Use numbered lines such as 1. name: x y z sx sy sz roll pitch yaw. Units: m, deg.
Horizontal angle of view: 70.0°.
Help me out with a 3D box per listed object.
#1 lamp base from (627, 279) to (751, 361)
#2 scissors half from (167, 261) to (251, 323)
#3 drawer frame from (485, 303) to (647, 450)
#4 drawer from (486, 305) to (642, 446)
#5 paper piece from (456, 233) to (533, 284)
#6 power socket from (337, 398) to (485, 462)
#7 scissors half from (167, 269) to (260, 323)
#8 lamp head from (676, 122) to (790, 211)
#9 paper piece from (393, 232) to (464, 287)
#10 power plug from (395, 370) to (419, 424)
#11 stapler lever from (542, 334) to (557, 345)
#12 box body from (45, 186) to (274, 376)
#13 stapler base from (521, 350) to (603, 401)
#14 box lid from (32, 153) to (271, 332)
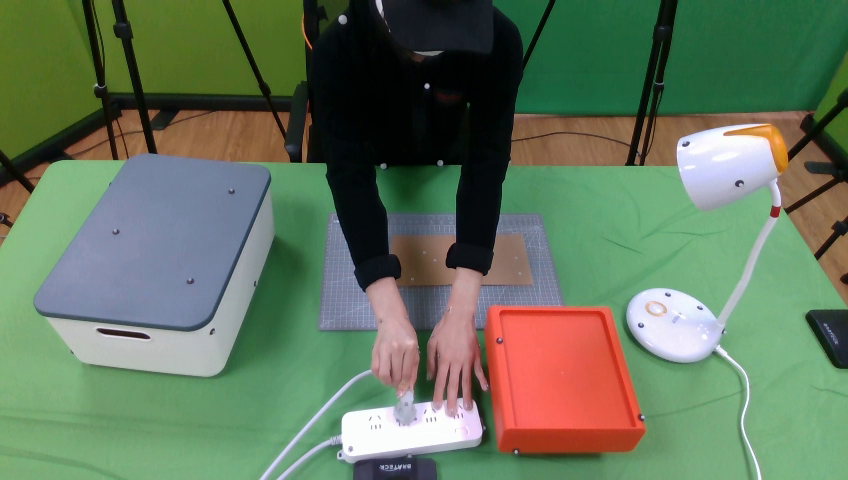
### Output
1. lamp base: 0.460 0.100 1.027 0.178 0.181 0.160 27 51 17
2. scissors half: -0.383 0.091 1.080 0.040 0.013 0.175 24 51 31
3. drawer frame: 0.204 0.202 0.917 0.202 0.083 0.212 1 47 -4
4. drawer: 0.202 0.201 0.919 0.195 0.073 0.210 1 47 -4
5. paper piece: 0.136 0.035 1.182 0.136 0.009 0.137 2 45 -6
6. power socket: -0.018 0.285 0.915 0.227 0.033 0.071 -4 46 -8
7. scissors half: -0.369 0.101 1.069 0.175 0.013 0.040 -29 51 -21
8. lamp head: 0.423 -0.104 0.819 0.122 0.113 0.112 -13 33 40
9. paper piece: 0.007 0.036 1.168 0.135 0.004 0.135 4 45 -7
10. power plug: -0.022 0.242 0.913 0.035 0.053 0.072 14 46 1
11. stapler lever: 0.225 0.181 0.928 0.118 0.040 0.027 27 34 15
12. box body: -0.421 0.037 1.031 0.254 0.161 0.362 6 46 1
13. stapler base: 0.217 0.203 0.942 0.130 0.024 0.041 26 33 16
14. box lid: -0.417 -0.015 0.980 0.263 0.015 0.369 6 46 1
